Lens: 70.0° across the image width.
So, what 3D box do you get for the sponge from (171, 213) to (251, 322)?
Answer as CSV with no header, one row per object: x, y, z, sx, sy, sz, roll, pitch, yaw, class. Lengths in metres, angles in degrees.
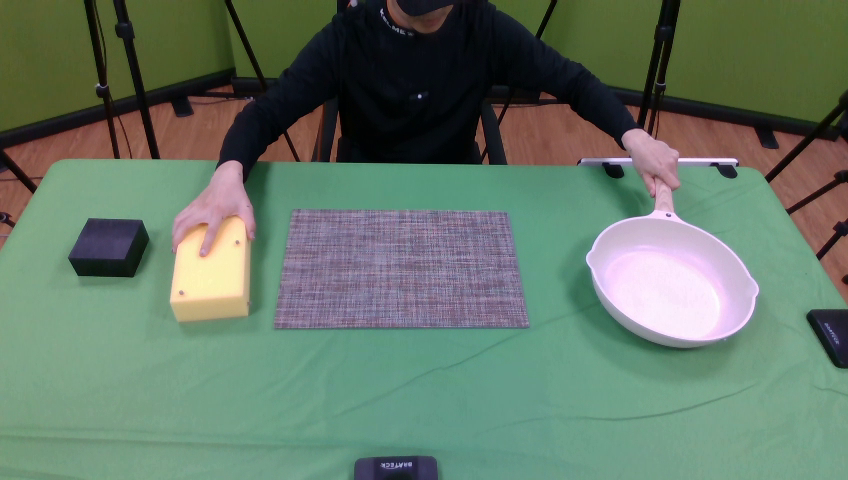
-0.380,0.045,1.099,0.118,0.061,0.205,-6,47,-9,sponge

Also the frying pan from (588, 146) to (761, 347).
0.469,-0.005,1.172,0.307,0.103,0.485,11,56,5,frying pan
